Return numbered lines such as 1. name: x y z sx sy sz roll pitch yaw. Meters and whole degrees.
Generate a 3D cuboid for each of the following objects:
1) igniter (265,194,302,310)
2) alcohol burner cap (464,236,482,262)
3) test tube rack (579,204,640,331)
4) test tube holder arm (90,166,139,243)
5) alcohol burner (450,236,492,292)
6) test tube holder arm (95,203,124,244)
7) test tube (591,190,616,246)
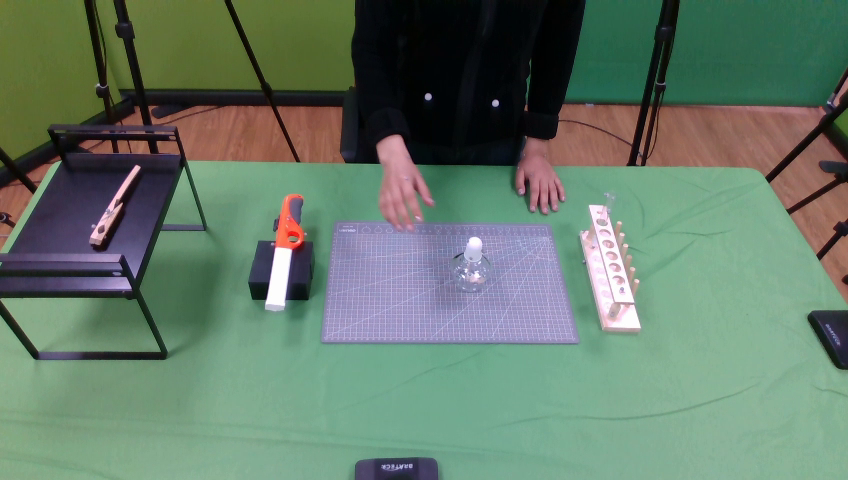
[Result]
1. igniter: -0.253 0.012 1.099 0.057 0.025 0.274 9 46 -12
2. alcohol burner cap: 0.088 0.014 1.074 0.034 0.048 0.033 1 52 -1
3. test tube rack: 0.353 0.047 1.137 0.067 0.085 0.241 2 46 -2
4. test tube holder arm: -0.493 -0.061 0.970 0.013 0.015 0.177 28 38 -25
5. alcohol burner: 0.087 0.038 1.101 0.078 0.119 0.077 3 45 -3
6. test tube holder arm: -0.489 -0.027 0.940 0.010 0.015 0.087 29 38 -23
7. test tube: 0.338 -0.038 1.149 0.017 0.151 0.017 0 51 0
